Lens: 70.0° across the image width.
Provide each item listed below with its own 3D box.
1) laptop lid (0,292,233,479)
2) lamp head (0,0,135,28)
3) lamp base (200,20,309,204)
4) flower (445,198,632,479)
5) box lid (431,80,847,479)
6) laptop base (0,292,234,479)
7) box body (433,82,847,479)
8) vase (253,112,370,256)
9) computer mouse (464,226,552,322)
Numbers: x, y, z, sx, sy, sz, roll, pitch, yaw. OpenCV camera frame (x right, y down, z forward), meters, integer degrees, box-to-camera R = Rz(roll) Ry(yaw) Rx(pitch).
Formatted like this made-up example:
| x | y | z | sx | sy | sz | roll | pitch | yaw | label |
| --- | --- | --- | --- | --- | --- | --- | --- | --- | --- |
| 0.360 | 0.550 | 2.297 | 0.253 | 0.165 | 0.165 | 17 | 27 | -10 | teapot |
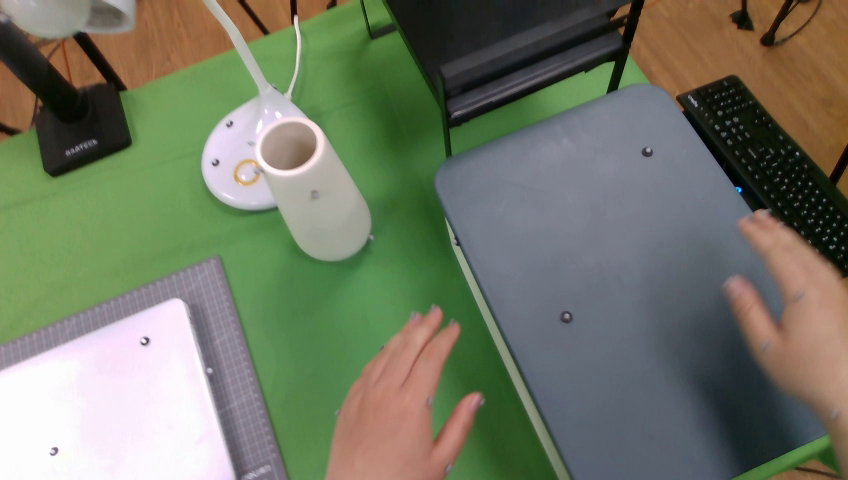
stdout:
| x | y | z | sx | sy | sz | roll | pitch | yaw | label |
| --- | --- | --- | --- | --- | --- | --- | --- | --- | --- |
| -0.405 | 0.223 | 0.665 | 0.357 | 0.013 | 0.239 | -22 | 69 | -4 | laptop lid |
| -0.267 | -0.230 | 0.445 | 0.112 | 0.113 | 0.122 | 5 | 85 | 8 | lamp head |
| -0.222 | -0.162 | 0.739 | 0.160 | 0.182 | 0.178 | 8 | 65 | 9 | lamp base |
| 0.126 | 0.108 | 0.648 | 0.044 | 0.038 | 0.359 | -14 | 69 | -49 | flower |
| 0.184 | 0.025 | 0.550 | 0.263 | 0.015 | 0.368 | -22 | 66 | -5 | box lid |
| -0.405 | 0.226 | 0.676 | 0.354 | 0.023 | 0.233 | -23 | 70 | -5 | laptop base |
| 0.192 | 0.057 | 0.618 | 0.254 | 0.161 | 0.361 | -22 | 67 | -4 | box body |
| -0.123 | -0.058 | 0.675 | 0.098 | 0.201 | 0.097 | -3 | 66 | 6 | vase |
| 0.095 | 0.035 | 0.696 | 0.063 | 0.041 | 0.116 | -28 | 59 | -3 | computer mouse |
